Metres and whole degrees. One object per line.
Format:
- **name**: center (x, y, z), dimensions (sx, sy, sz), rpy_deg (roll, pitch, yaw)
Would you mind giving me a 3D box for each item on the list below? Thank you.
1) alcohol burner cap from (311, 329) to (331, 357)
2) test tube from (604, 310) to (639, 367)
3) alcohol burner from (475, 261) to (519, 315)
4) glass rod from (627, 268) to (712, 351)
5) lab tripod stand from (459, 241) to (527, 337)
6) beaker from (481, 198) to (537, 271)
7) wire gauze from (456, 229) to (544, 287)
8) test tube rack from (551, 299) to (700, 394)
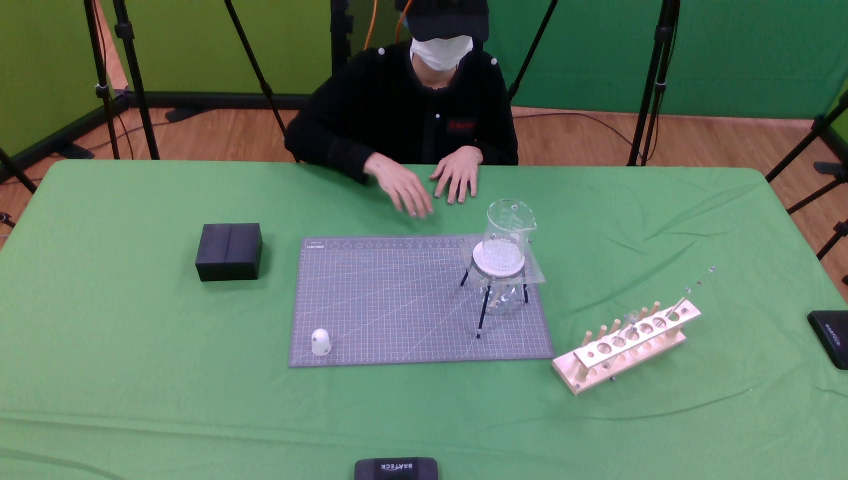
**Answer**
- **alcohol burner cap**: center (-0.173, 0.168, 1.005), dimensions (0.034, 0.048, 0.033), rpy_deg (2, 46, -2)
- **test tube**: center (0.310, 0.158, 0.957), dimensions (0.017, 0.151, 0.017), rpy_deg (1, 49, -1)
- **alcohol burner**: center (0.131, 0.078, 1.066), dimensions (0.078, 0.119, 0.077), rpy_deg (2, 48, -2)
- **glass rod**: center (0.399, 0.117, 0.995), dimensions (0.008, 0.200, 0.008), rpy_deg (26, 29, -16)
- **lab tripod stand**: center (0.122, 0.075, 1.054), dimensions (0.148, 0.132, 0.147), rpy_deg (3, 44, -3)
- **beaker**: center (0.134, -0.005, 0.974), dimensions (0.084, 0.101, 0.074), rpy_deg (23, 49, 16)
- **wire gauze**: center (0.125, 0.030, 1.008), dimensions (0.125, 0.011, 0.120), rpy_deg (-3, 48, -11)
- **test tube rack**: center (0.339, 0.166, 1.021), dimensions (0.242, 0.085, 0.066), rpy_deg (-19, 50, -21)
